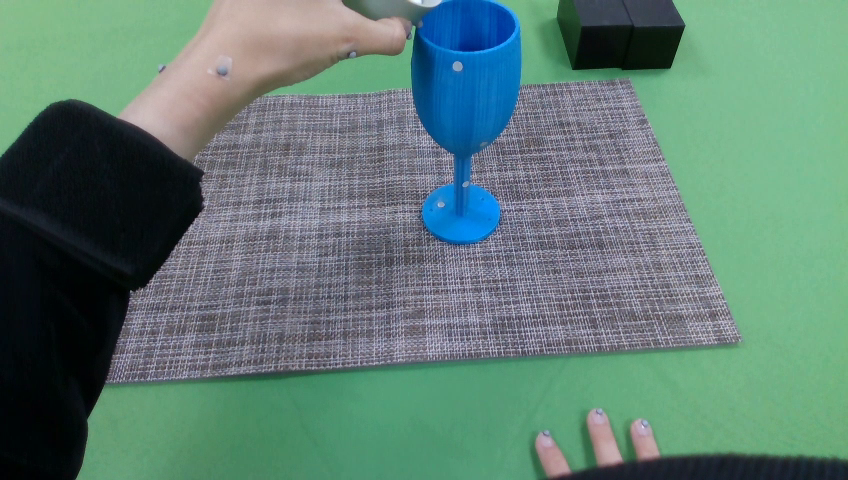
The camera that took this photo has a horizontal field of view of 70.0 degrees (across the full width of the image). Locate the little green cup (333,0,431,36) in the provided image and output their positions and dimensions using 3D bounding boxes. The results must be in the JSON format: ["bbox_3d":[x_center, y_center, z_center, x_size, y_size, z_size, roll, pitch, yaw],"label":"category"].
[{"bbox_3d":[-0.025,-0.151,0.351,0.062,0.038,0.061,22,51,-28],"label":"little green cup"}]

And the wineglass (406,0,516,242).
[{"bbox_3d":[0.025,-0.077,0.430,0.074,0.174,0.073,-1,51,1],"label":"wineglass"}]
